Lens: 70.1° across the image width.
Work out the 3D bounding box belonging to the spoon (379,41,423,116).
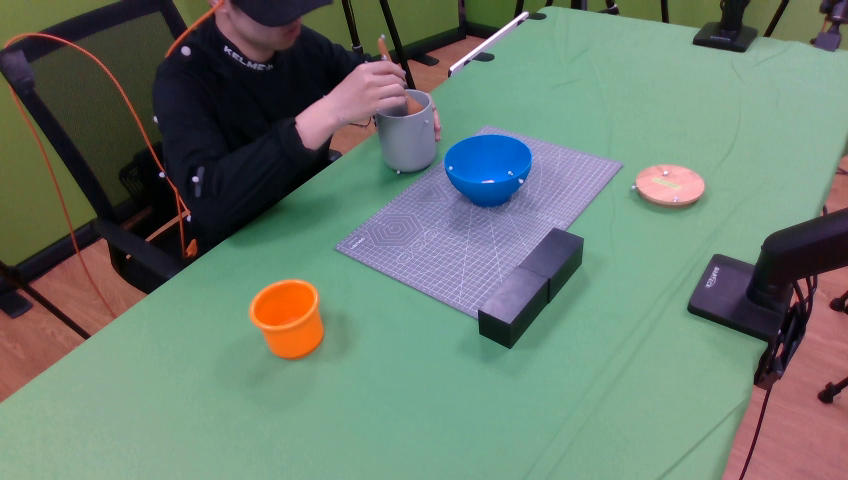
[{"bbox_3d":[-0.038,-0.261,1.046,0.021,0.195,0.041,25,66,42],"label":"spoon"}]

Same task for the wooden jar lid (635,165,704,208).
[{"bbox_3d":[0.410,-0.089,1.014,0.108,0.021,0.108,-5,42,5],"label":"wooden jar lid"}]

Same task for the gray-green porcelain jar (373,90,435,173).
[{"bbox_3d":[-0.034,-0.198,1.125,0.106,0.127,0.105,-4,41,4],"label":"gray-green porcelain jar"}]

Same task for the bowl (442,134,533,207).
[{"bbox_3d":[0.110,-0.109,1.033,0.151,0.077,0.150,-4,41,4],"label":"bowl"}]
